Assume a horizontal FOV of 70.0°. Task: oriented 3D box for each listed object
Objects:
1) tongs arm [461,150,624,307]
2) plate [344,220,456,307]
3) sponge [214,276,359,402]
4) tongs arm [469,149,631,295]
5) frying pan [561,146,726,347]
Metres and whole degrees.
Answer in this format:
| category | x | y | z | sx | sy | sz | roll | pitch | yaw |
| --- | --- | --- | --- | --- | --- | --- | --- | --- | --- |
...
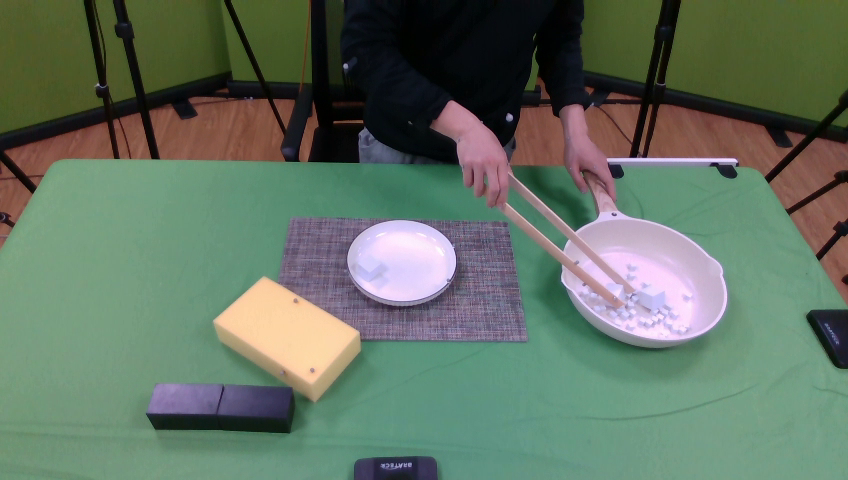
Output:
| category | x | y | z | sx | sy | sz | roll | pitch | yaw |
| --- | --- | --- | --- | --- | --- | --- | --- | --- | --- |
| tongs arm | 0.214 | -0.018 | 1.083 | 0.385 | 0.026 | 0.050 | 39 | 61 | -5 |
| plate | -0.045 | 0.047 | 1.133 | 0.208 | 0.039 | 0.206 | 3 | 46 | -2 |
| sponge | -0.224 | 0.158 | 0.998 | 0.206 | 0.061 | 0.118 | 27 | 52 | 18 |
| tongs arm | 0.227 | -0.033 | 1.094 | 0.388 | 0.028 | 0.028 | 43 | 64 | -3 |
| frying pan | 0.378 | -0.005 | 1.175 | 0.307 | 0.103 | 0.484 | -4 | 55 | -9 |
